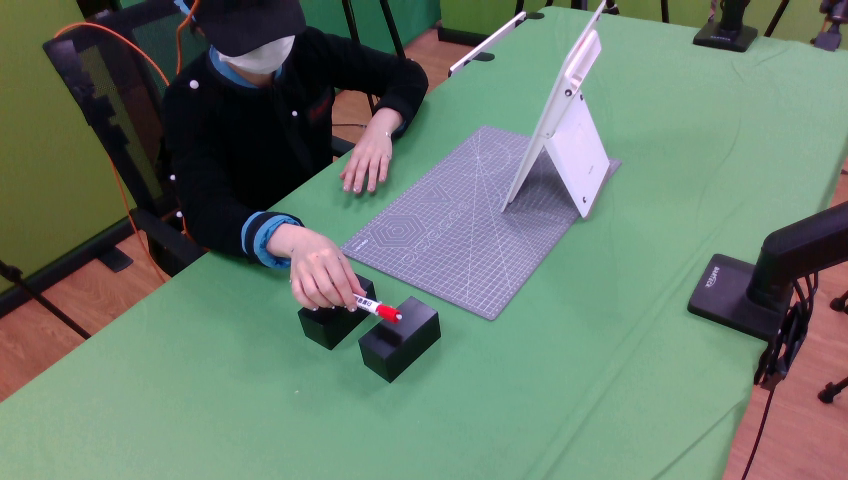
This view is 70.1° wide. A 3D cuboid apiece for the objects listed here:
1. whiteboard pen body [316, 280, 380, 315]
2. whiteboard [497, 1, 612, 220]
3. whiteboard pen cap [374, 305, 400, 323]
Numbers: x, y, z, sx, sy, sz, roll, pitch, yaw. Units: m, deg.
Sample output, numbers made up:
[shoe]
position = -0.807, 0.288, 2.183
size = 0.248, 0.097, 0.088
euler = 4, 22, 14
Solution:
[whiteboard pen body]
position = -0.093, 0.079, 0.805
size = 0.139, 0.017, 0.017
euler = 18, 46, 36
[whiteboard]
position = 0.260, -0.177, 0.963
size = 0.143, 0.306, 0.217
euler = 28, 49, 9
[whiteboard pen cap]
position = -0.048, 0.094, 0.772
size = 0.032, 0.017, 0.017
euler = 16, 45, 36
